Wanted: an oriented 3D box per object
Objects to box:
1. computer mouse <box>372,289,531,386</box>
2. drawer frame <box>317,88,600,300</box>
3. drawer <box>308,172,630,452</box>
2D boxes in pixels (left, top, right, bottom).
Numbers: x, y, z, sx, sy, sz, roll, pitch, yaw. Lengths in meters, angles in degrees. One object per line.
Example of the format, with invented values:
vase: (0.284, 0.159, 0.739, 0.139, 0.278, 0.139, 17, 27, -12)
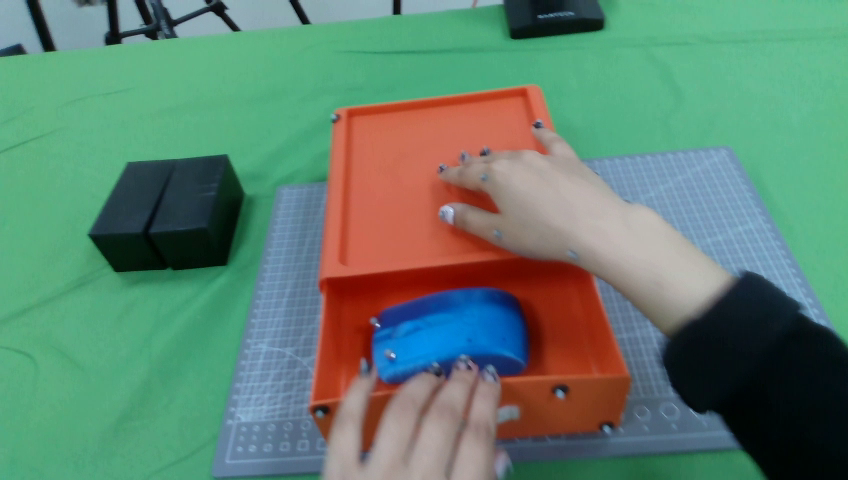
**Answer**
computer mouse: (0.018, 0.070, 0.443, 0.117, 0.041, 0.062, -7, 49, 7)
drawer frame: (0.022, -0.029, 0.516, 0.201, 0.083, 0.211, -7, 45, 2)
drawer: (0.025, 0.041, 0.451, 0.194, 0.074, 0.209, -6, 46, 3)
